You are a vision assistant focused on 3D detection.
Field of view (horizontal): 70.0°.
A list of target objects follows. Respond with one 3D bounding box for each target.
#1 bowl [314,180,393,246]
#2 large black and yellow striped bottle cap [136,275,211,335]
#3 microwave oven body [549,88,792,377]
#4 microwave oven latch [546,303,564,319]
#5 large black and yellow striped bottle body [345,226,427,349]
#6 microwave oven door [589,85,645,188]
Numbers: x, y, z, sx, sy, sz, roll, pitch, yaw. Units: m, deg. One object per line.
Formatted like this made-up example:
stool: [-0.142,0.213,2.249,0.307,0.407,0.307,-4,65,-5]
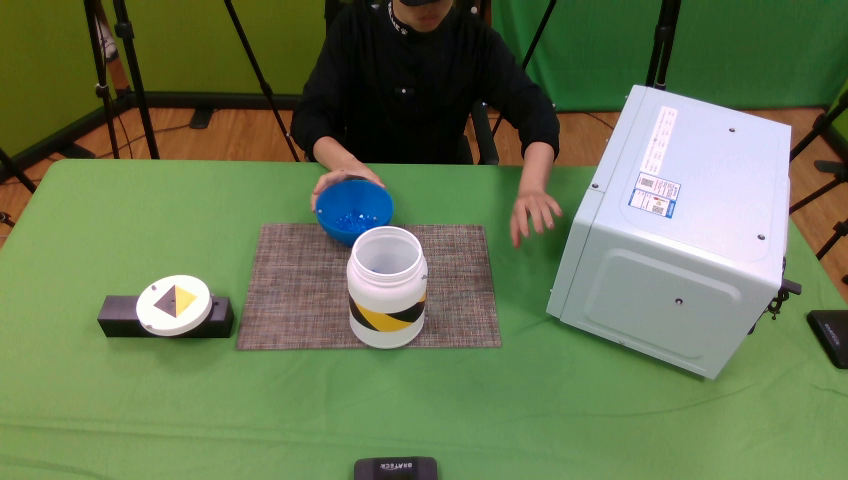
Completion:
bowl: [-0.136,-0.040,1.181,0.151,0.077,0.150,2,46,-2]
large black and yellow striped bottle cap: [-0.412,0.105,0.999,0.115,0.019,0.114,3,46,-3]
microwave oven body: [0.456,-0.028,1.088,0.325,0.261,0.440,20,47,16]
microwave oven latch: [0.242,0.102,1.081,0.030,0.029,0.079,21,48,17]
large black and yellow striped bottle body: [-0.062,0.078,0.998,0.131,0.185,0.130,2,46,-2]
microwave oven door: [0.341,-0.107,1.149,0.039,0.245,0.354,20,48,15]
